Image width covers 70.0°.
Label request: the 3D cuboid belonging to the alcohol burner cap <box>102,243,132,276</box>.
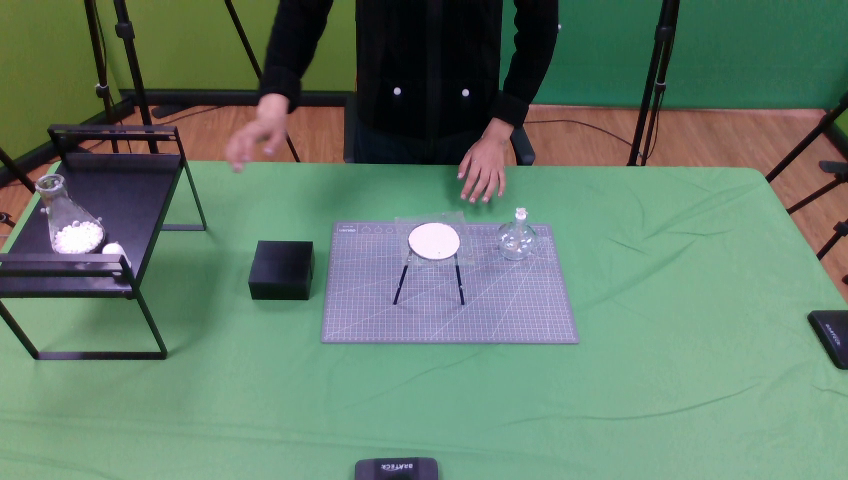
[{"bbox_3d":[-0.446,0.025,0.875,0.034,0.048,0.033,3,45,-3],"label":"alcohol burner cap"}]

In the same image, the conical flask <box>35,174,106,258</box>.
[{"bbox_3d":[-0.518,-0.038,0.875,0.075,0.122,0.075,2,46,-2],"label":"conical flask"}]

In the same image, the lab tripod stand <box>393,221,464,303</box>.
[{"bbox_3d":[0.010,0.045,1.074,0.148,0.132,0.147,2,48,-2],"label":"lab tripod stand"}]

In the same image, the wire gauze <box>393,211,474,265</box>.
[{"bbox_3d":[0.015,-0.003,1.028,0.125,0.011,0.120,-4,47,-7],"label":"wire gauze"}]

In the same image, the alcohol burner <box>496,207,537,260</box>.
[{"bbox_3d":[0.180,-0.018,1.162,0.078,0.120,0.077,1,48,-1],"label":"alcohol burner"}]
